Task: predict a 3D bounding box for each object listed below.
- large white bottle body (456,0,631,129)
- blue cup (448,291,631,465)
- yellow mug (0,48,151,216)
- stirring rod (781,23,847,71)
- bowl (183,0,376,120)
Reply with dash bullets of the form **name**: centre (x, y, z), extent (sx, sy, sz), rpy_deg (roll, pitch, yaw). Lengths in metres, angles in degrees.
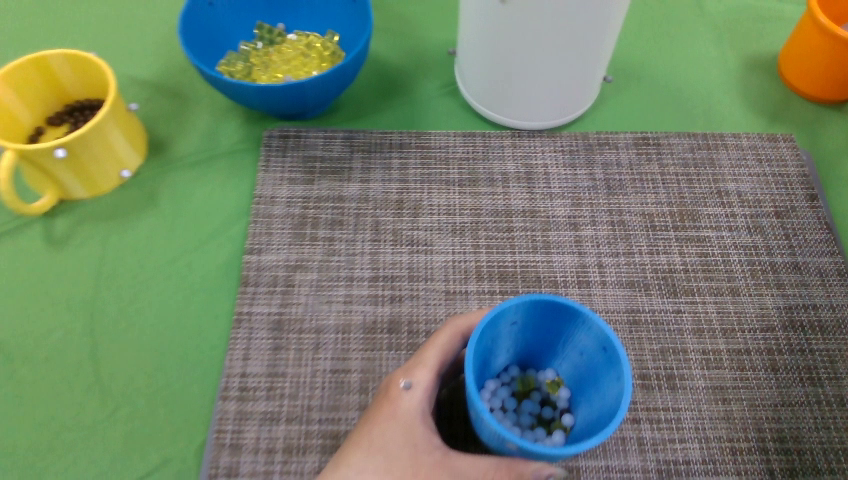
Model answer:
- **large white bottle body**: centre (0.093, -0.192, 0.470), extent (0.130, 0.186, 0.129), rpy_deg (1, 60, -1)
- **blue cup**: centre (0.061, 0.089, 0.349), extent (0.093, 0.101, 0.092), rpy_deg (1, 61, -2)
- **yellow mug**: centre (-0.280, -0.077, 0.464), extent (0.100, 0.064, 0.130), rpy_deg (12, 61, 5)
- **stirring rod**: centre (0.391, -0.195, 0.504), extent (0.176, 0.006, 0.014), rpy_deg (-30, 59, 31)
- **bowl**: centre (-0.113, -0.155, 0.507), extent (0.151, 0.077, 0.150), rpy_deg (1, 60, -1)
